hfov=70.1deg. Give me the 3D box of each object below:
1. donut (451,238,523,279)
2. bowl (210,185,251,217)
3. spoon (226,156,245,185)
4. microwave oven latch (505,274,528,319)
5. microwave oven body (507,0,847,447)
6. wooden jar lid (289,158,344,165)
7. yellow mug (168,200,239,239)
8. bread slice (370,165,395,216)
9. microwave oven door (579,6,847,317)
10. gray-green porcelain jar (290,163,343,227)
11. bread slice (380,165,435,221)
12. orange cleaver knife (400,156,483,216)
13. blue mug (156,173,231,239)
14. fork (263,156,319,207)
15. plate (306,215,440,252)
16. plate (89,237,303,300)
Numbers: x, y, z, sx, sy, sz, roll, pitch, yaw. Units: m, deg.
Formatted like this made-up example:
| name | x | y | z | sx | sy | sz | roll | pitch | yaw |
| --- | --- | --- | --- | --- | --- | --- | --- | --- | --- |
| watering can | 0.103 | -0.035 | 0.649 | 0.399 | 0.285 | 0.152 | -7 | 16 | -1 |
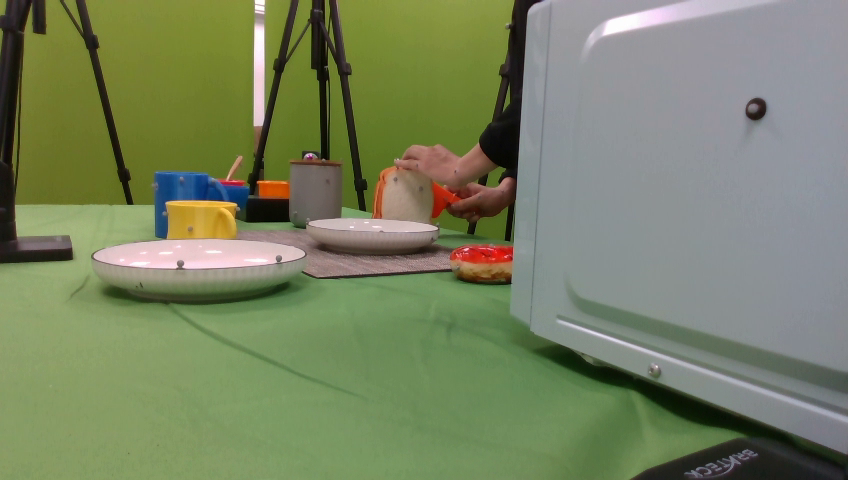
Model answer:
| name | x | y | z | sx | sy | sz | roll | pitch | yaw |
| --- | --- | --- | --- | --- | --- | --- | --- | --- | --- |
| donut | 0.083 | 0.022 | 0.745 | 0.099 | 0.048 | 0.099 | 1 | 5 | 0 |
| bowl | -0.408 | -0.064 | 1.155 | 0.151 | 0.077 | 0.151 | 2 | 8 | 0 |
| spoon | -0.476 | -0.145 | 1.492 | 0.041 | 0.022 | 0.193 | 0 | 51 | 12 |
| microwave oven latch | 0.100 | 0.041 | 0.471 | 0.079 | 0.029 | 0.030 | -1 | 8 | -28 |
| microwave oven body | 0.331 | -0.042 | 0.425 | 0.444 | 0.260 | 0.324 | -2 | 8 | -31 |
| wooden jar lid | -0.215 | -0.152 | 1.212 | 0.108 | 0.020 | 0.108 | 2 | 5 | 0 |
| yellow mug | -0.319 | -0.023 | 0.904 | 0.130 | 0.064 | 0.100 | 9 | 11 | 36 |
| bread slice | -0.051 | -0.078 | 1.174 | 0.105 | 0.131 | 0.019 | 7 | 10 | -30 |
| microwave oven door | 0.294 | -0.067 | 0.570 | 0.358 | 0.243 | 0.039 | -3 | 9 | -31 |
| gray-green porcelain jar | -0.217 | -0.091 | 1.221 | 0.106 | 0.126 | 0.106 | 2 | 7 | 0 |
| bread slice | -0.033 | -0.071 | 1.116 | 0.107 | 0.134 | 0.018 | -2 | 12 | -16 |
| orange cleaver knife | 0.025 | -0.089 | 1.190 | 0.212 | 0.077 | 0.012 | 29 | -5 | -26 |
| blue mug | -0.381 | -0.057 | 1.004 | 0.117 | 0.106 | 0.082 | 1 | 8 | -12 |
| fork | -0.331 | -0.144 | 1.505 | 0.207 | 0.018 | 0.028 | -42 | -21 | 22 |
| plate | -0.079 | -0.011 | 0.950 | 0.209 | 0.038 | 0.209 | 2 | 8 | 0 |
| plate | -0.233 | 0.029 | 0.637 | 0.208 | 0.039 | 0.207 | 2 | 7 | 0 |
